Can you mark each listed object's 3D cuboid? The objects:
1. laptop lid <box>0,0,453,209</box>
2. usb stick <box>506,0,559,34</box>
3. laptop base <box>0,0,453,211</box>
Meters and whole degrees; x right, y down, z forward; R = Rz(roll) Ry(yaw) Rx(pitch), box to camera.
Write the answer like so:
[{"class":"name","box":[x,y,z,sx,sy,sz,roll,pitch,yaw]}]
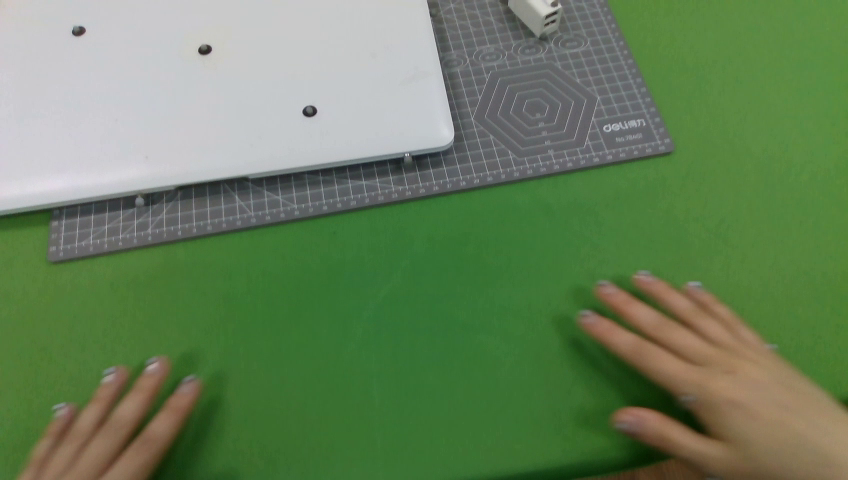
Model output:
[{"class":"laptop lid","box":[-0.169,-0.148,0.470,0.357,0.013,0.239,-7,65,-3]},{"class":"usb stick","box":[0.085,-0.200,0.499,0.021,0.027,0.058,-30,64,-12]},{"class":"laptop base","box":[-0.169,-0.144,0.482,0.355,0.023,0.233,-9,67,-3]}]
